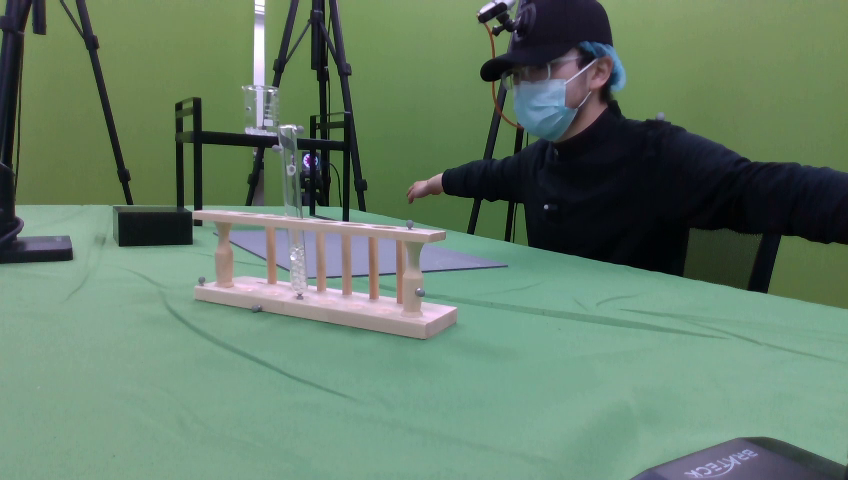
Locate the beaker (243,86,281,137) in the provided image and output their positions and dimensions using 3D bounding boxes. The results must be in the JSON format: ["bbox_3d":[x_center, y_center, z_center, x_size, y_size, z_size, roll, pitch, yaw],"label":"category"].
[{"bbox_3d":[-0.338,-0.265,1.253,0.073,0.100,0.084,8,9,38],"label":"beaker"}]

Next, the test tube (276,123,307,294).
[{"bbox_3d":[-0.116,-0.027,0.532,0.017,0.150,0.017,-3,7,1],"label":"test tube"}]

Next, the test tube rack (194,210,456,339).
[{"bbox_3d":[-0.093,0.023,0.546,0.241,0.085,0.067,6,8,25],"label":"test tube rack"}]
